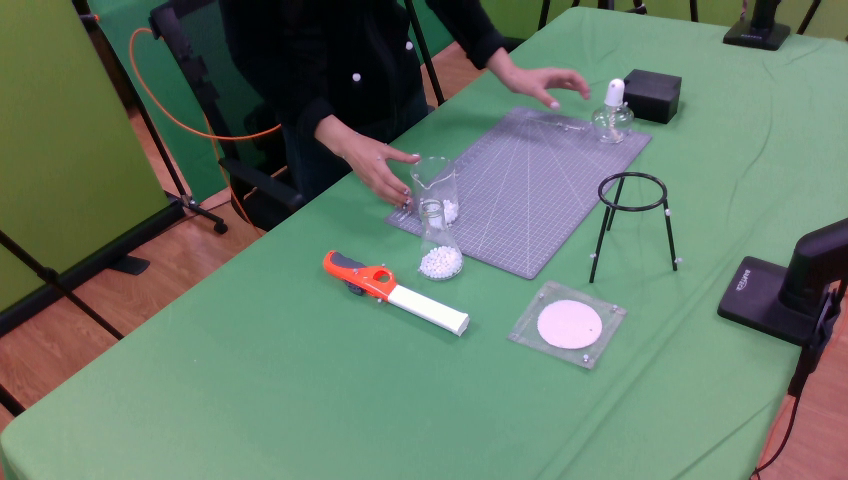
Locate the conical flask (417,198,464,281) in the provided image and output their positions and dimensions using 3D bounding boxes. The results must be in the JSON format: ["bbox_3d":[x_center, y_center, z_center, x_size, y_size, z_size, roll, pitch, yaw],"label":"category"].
[{"bbox_3d":[0.019,-0.004,0.907,0.075,0.122,0.075,-5,40,5],"label":"conical flask"}]

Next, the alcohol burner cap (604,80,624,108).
[{"bbox_3d":[0.350,-0.269,1.102,0.034,0.048,0.033,-2,46,2],"label":"alcohol burner cap"}]

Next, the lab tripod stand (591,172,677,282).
[{"bbox_3d":[0.292,-0.022,0.867,0.148,0.132,0.147,-7,39,6],"label":"lab tripod stand"}]

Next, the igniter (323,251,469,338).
[{"bbox_3d":[-0.052,0.075,0.901,0.274,0.025,0.057,23,61,32],"label":"igniter"}]

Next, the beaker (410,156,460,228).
[{"bbox_3d":[0.020,-0.076,1.006,0.074,0.101,0.084,3,42,15],"label":"beaker"}]

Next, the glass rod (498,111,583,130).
[{"bbox_3d":[0.234,-0.245,1.236,0.198,0.008,0.008,20,49,35],"label":"glass rod"}]

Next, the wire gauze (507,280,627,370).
[{"bbox_3d":[0.196,0.114,0.823,0.120,0.011,0.125,20,50,31],"label":"wire gauze"}]

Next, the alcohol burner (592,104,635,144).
[{"bbox_3d":[0.353,-0.242,1.126,0.078,0.119,0.077,-5,38,5],"label":"alcohol burner"}]
